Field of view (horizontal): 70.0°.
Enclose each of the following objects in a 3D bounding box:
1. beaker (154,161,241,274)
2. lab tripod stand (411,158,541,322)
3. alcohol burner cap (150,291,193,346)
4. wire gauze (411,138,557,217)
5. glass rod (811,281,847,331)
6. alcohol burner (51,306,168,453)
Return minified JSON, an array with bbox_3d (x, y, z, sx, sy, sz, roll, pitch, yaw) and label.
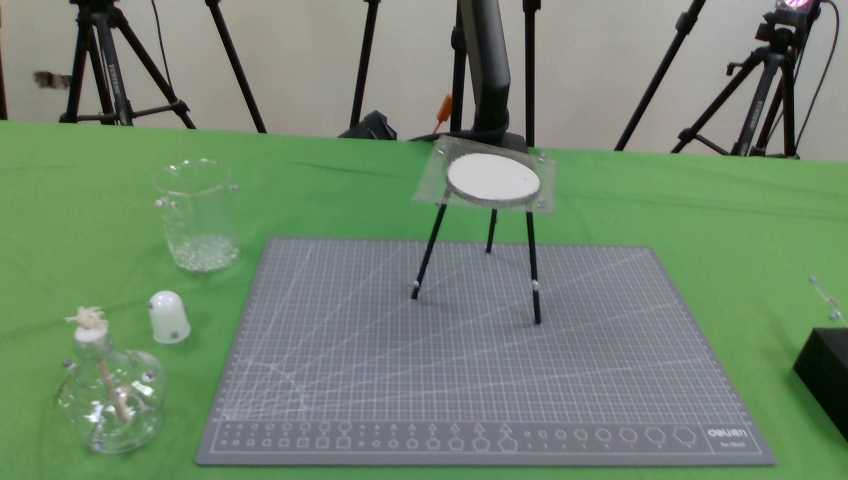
[{"bbox_3d":[-0.233,-0.023,0.629,0.083,0.101,0.074,29,41,32],"label":"beaker"},{"bbox_3d":[0.064,-0.002,0.596,0.148,0.132,0.147,5,34,-3],"label":"lab tripod stand"},{"bbox_3d":[-0.231,0.068,0.548,0.034,0.048,0.033,3,34,-1],"label":"alcohol burner cap"},{"bbox_3d":[0.061,-0.058,0.558,0.121,0.011,0.124,11,35,8],"label":"wire gauze"},{"bbox_3d":[0.381,0.098,0.516,0.008,0.008,0.198,3,35,0],"label":"glass rod"},{"bbox_3d":[-0.232,0.098,0.440,0.078,0.120,0.077,1,35,0],"label":"alcohol burner"}]
